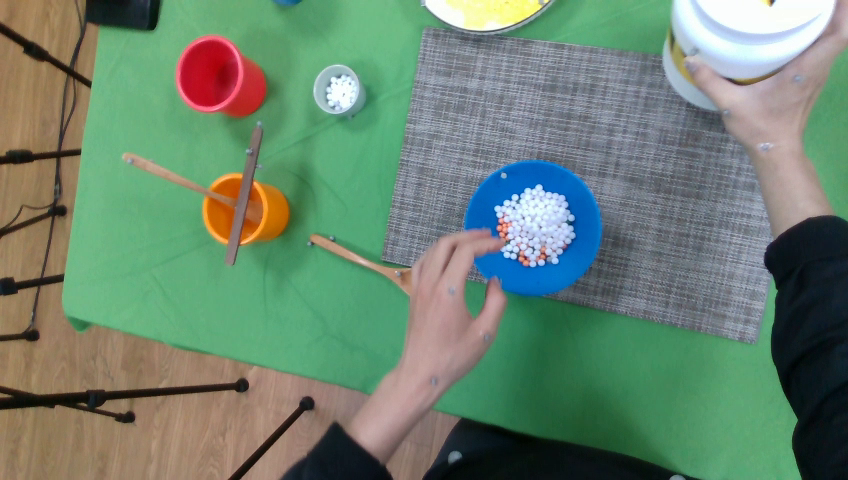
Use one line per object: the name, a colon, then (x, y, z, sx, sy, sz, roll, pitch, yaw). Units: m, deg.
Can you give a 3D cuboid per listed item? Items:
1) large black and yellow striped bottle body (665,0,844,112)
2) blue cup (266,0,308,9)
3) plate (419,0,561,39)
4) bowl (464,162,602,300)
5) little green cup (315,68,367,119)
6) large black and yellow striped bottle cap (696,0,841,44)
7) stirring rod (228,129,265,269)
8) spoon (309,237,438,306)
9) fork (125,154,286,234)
large black and yellow striped bottle body: (0.305, -0.209, 0.571, 0.130, 0.185, 0.130, -2, 83, 16)
blue cup: (-0.188, -0.340, 0.766, 0.092, 0.100, 0.092, 0, 90, 16)
plate: (0.084, -0.343, 0.730, 0.208, 0.038, 0.209, 0, 91, 14)
bowl: (0.127, -0.009, 0.696, 0.151, 0.077, 0.151, 0, 90, 15)
little green cup: (-0.104, -0.185, 0.778, 0.061, 0.039, 0.061, 0, 91, 15)
large black and yellow striped bottle cap: (0.281, -0.217, 0.490, 0.114, 0.019, 0.114, -2, 83, 17)
stirring rod: (-0.220, -0.050, 0.749, 0.014, 0.006, 0.176, 14, 94, 15)
spoon: (-0.068, 0.034, 0.779, 0.193, 0.021, 0.042, 23, 110, 13)
fork: (-0.271, -0.057, 0.765, 0.209, 0.018, 0.028, 26, 101, -31)
